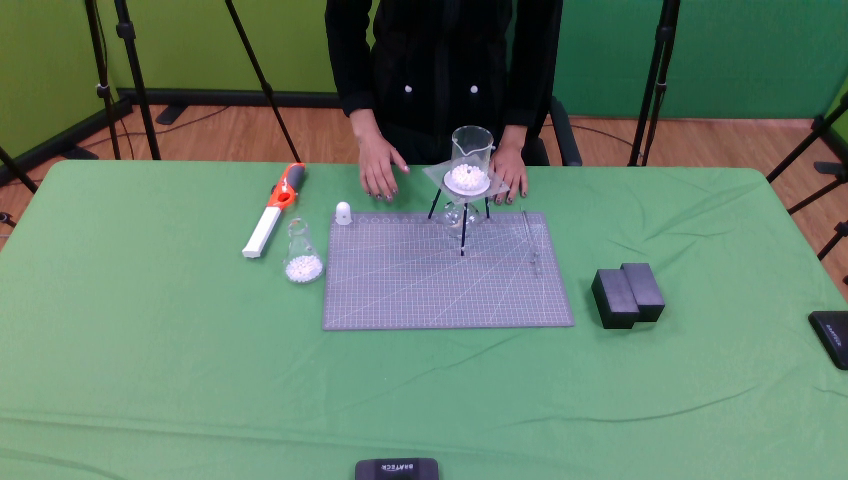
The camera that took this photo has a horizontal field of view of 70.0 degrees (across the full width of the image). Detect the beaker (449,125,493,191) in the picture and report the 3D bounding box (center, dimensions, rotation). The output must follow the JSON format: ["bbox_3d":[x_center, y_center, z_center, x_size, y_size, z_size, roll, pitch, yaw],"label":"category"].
[{"bbox_3d":[0.083,-0.146,1.108,0.074,0.101,0.083,15,47,11],"label":"beaker"}]

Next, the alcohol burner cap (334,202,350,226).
[{"bbox_3d":[-0.166,-0.055,1.222,0.034,0.048,0.033,2,46,-2],"label":"alcohol burner cap"}]

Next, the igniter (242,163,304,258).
[{"bbox_3d":[-0.305,-0.069,1.239,0.057,0.025,0.275,3,45,12],"label":"igniter"}]

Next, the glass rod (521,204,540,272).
[{"bbox_3d":[0.214,-0.008,1.230,0.008,0.008,0.198,0,43,-4],"label":"glass rod"}]

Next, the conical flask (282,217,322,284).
[{"bbox_3d":[-0.225,0.016,1.097,0.075,0.122,0.075,3,46,-2],"label":"conical flask"}]

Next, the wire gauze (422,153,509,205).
[{"bbox_3d":[0.078,-0.114,1.144,0.125,0.011,0.120,-21,49,-20],"label":"wire gauze"}]

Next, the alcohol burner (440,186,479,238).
[{"bbox_3d":[0.072,-0.062,1.198,0.078,0.119,0.077,3,47,-3],"label":"alcohol burner"}]

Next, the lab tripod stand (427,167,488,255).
[{"bbox_3d":[0.076,-0.068,1.191,0.148,0.132,0.147,2,44,-2],"label":"lab tripod stand"}]
